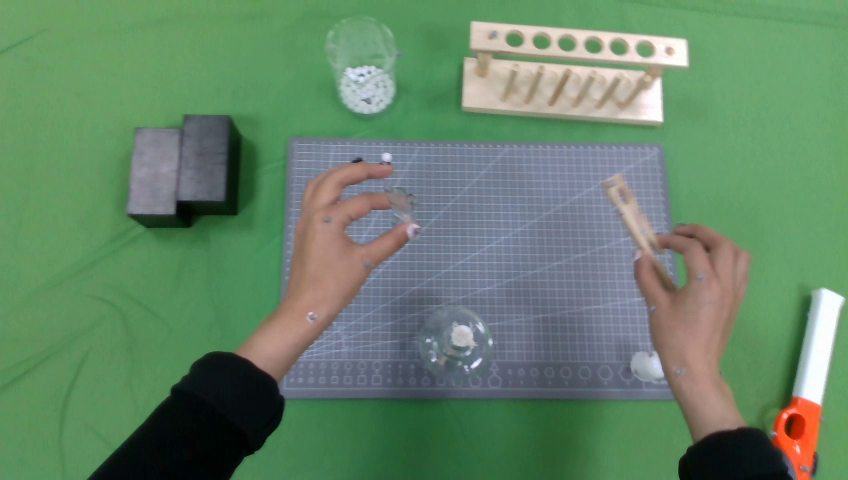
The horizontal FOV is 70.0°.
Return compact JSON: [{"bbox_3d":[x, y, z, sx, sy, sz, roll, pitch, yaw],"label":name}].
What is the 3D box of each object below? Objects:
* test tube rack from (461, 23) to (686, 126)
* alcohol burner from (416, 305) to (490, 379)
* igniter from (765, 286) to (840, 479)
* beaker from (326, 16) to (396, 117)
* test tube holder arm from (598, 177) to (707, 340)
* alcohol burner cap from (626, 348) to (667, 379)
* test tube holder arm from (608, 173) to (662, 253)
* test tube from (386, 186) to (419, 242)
[{"bbox_3d":[0.169,-0.191,0.710,0.242,0.085,0.066,4,76,-2],"label":"test tube rack"},{"bbox_3d":[0.031,0.101,0.613,0.078,0.119,0.077,1,75,-4],"label":"alcohol burner"},{"bbox_3d":[0.409,0.181,0.660,0.057,0.025,0.275,23,76,-7],"label":"igniter"},{"bbox_3d":[-0.069,-0.190,0.690,0.074,0.100,0.083,3,76,-2],"label":"beaker"},{"bbox_3d":[0.217,0.018,0.577,0.013,0.015,0.178,-30,89,-6],"label":"test tube holder arm"},{"bbox_3d":[0.242,0.133,0.653,0.034,0.048,0.033,1,75,-3],"label":"alcohol burner cap"},{"bbox_3d":[0.199,-0.024,0.578,0.010,0.015,0.088,-31,89,-6],"label":"test tube holder arm"},{"bbox_3d":[-0.017,-0.019,0.534,0.017,0.151,0.017,-1,78,3],"label":"test tube"}]
